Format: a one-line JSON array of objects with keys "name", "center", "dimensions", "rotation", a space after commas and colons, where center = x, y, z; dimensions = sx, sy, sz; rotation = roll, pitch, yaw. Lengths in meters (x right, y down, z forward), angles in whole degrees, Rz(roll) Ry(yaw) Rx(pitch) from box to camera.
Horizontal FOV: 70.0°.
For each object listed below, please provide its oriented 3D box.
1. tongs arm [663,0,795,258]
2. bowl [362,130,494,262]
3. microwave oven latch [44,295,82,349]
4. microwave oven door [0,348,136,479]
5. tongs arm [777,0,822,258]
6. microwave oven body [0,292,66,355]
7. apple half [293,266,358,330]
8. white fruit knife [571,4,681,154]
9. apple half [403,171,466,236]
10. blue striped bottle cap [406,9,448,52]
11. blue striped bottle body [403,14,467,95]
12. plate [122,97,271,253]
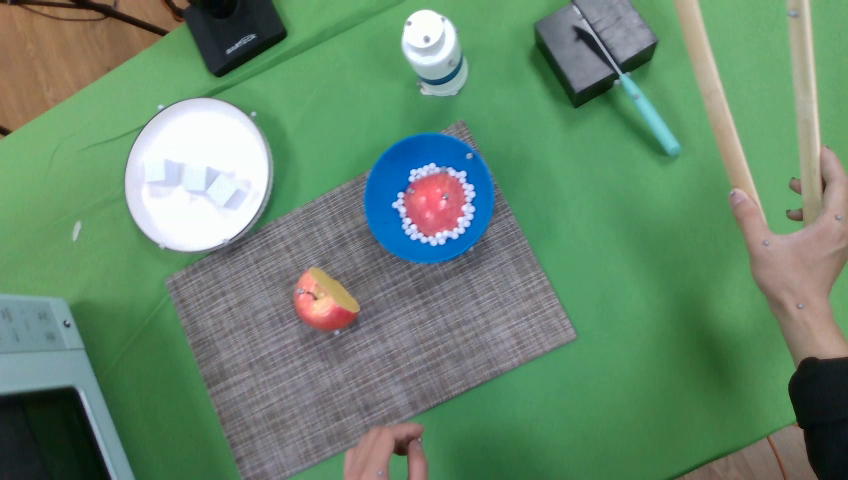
[{"name": "tongs arm", "center": [0.247, -0.155, 0.531], "dimensions": [0.028, 0.027, 0.388], "rotation": [-25, 99, -13]}, {"name": "bowl", "center": [0.011, -0.045, 0.711], "dimensions": [0.151, 0.077, 0.151], "rotation": [-1, 83, 12]}, {"name": "microwave oven latch", "center": [-0.482, 0.111, 0.797], "dimensions": [0.030, 0.029, 0.079], "rotation": [-29, 79, 6]}, {"name": "microwave oven door", "center": [-0.405, 0.288, 0.656], "dimensions": [0.039, 0.245, 0.354], "rotation": [-29, 78, 7]}, {"name": "tongs arm", "center": [0.315, -0.176, 0.542], "dimensions": [0.051, 0.026, 0.385], "rotation": [-14, 97, -11]}, {"name": "microwave oven body", "center": [-0.551, 0.323, 0.685], "dimensions": [0.326, 0.261, 0.439], "rotation": [-29, 79, 6]}, {"name": "apple half", "center": [-0.123, 0.077, 0.726], "dimensions": [0.080, 0.075, 0.053], "rotation": [44, 96, 9]}, {"name": "white fruit knife", "center": [0.227, -0.181, 0.684], "dimensions": [0.016, 0.027, 0.207], "rotation": [-36, 95, 23]}, {"name": "apple half", "center": [0.011, -0.045, 0.706], "dimensions": [0.081, 0.033, 0.081], "rotation": [-2, 82, 12]}, {"name": "blue striped bottle cap", "center": [0.003, -0.229, 0.664], "dimensions": [0.044, 0.021, 0.044], "rotation": [-1, 87, 11]}, {"name": "blue striped bottle body", "center": [0.013, -0.221, 0.713], "dimensions": [0.063, 0.121, 0.063], "rotation": [-2, 82, 12]}, {"name": "plate", "center": [-0.296, -0.083, 0.802], "dimensions": [0.207, 0.039, 0.207], "rotation": [-1, 83, 11]}]
